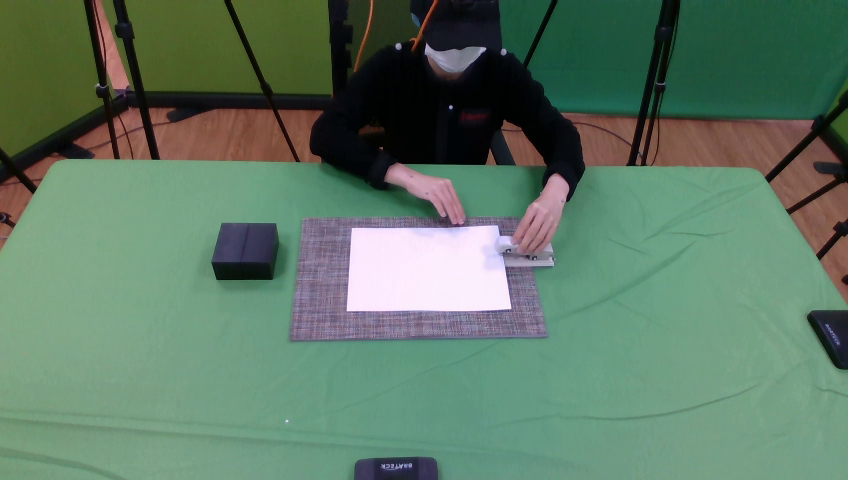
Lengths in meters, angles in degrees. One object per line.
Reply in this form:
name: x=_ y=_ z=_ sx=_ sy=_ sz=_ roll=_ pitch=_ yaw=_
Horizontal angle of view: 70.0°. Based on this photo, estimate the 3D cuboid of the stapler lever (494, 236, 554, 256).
stapler lever: x=0.192 y=0.012 z=1.160 sx=0.118 sy=0.040 sz=0.026 roll=0 pitch=48 yaw=-6

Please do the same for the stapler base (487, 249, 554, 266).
stapler base: x=0.189 y=0.029 z=1.177 sx=0.131 sy=0.024 sz=0.041 roll=0 pitch=48 yaw=-7
